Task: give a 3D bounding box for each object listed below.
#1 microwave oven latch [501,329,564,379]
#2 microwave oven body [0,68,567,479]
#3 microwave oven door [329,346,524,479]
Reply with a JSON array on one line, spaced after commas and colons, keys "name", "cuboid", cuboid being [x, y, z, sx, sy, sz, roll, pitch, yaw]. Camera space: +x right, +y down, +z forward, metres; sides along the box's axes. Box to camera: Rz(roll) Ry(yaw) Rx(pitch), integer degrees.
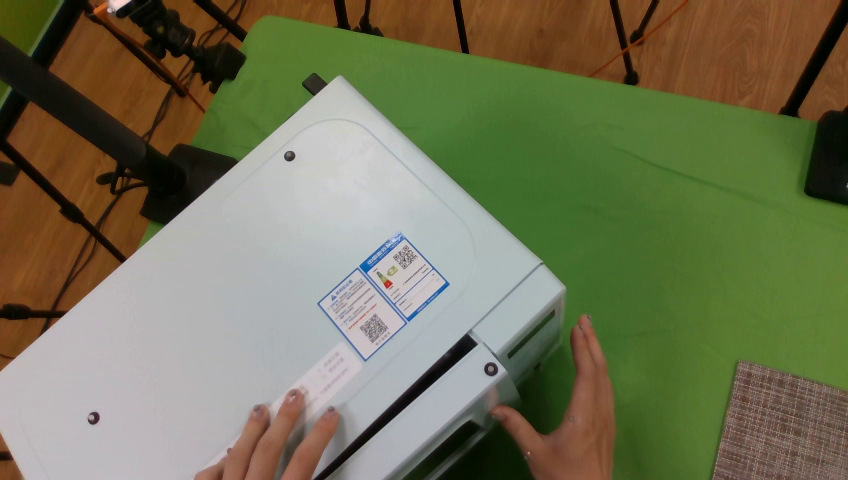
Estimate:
[{"name": "microwave oven latch", "cuboid": [0.120, 0.119, 0.674, 0.079, 0.030, 0.030, -40, 69, -3]}, {"name": "microwave oven body", "cuboid": [-0.126, 0.109, 0.623, 0.441, 0.262, 0.323, -43, 69, -4]}, {"name": "microwave oven door", "cuboid": [-0.057, 0.238, 0.559, 0.356, 0.246, 0.039, -41, 67, -4]}]
